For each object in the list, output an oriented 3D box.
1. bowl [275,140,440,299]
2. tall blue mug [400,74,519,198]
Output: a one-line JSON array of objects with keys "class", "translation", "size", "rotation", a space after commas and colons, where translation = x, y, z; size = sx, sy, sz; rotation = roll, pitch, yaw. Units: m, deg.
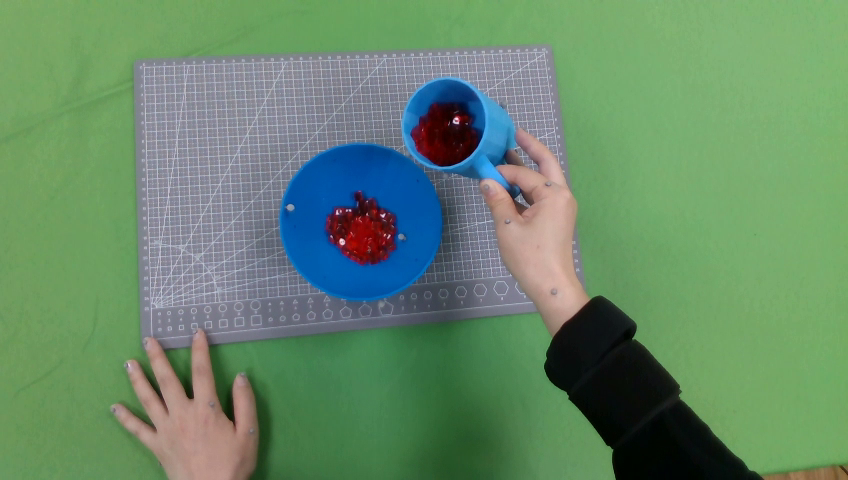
[{"class": "bowl", "translation": [-0.064, -0.013, 0.590], "size": [0.152, 0.077, 0.151], "rotation": [1, 80, -7]}, {"class": "tall blue mug", "translation": [0.046, -0.092, 0.541], "size": [0.106, 0.108, 0.078], "rotation": [25, 100, 17]}]
